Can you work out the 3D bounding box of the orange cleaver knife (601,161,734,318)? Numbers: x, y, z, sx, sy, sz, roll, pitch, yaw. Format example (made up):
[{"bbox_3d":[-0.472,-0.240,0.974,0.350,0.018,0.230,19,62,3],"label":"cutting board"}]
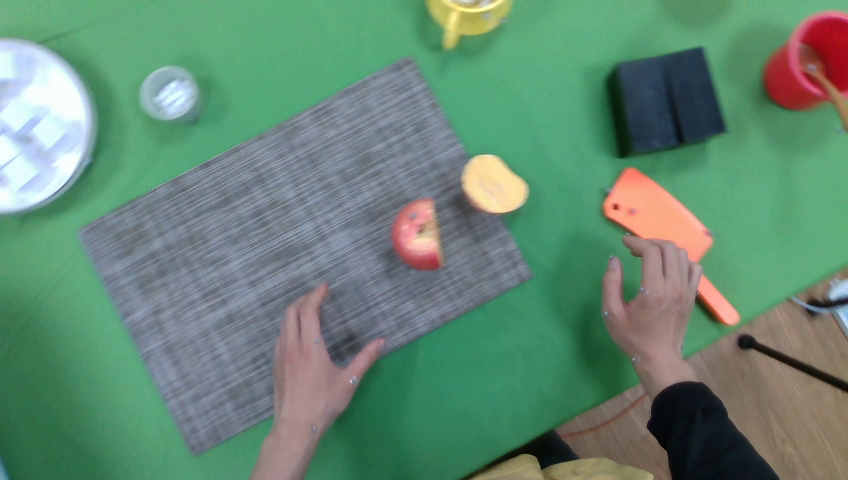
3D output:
[{"bbox_3d":[0.294,-0.002,0.708,0.077,0.012,0.211,-43,86,-8],"label":"orange cleaver knife"}]

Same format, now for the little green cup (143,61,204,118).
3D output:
[{"bbox_3d":[-0.290,-0.173,0.707,0.061,0.038,0.061,0,87,1],"label":"little green cup"}]

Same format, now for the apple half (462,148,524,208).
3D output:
[{"bbox_3d":[0.072,-0.064,0.698,0.082,0.033,0.080,11,59,-18],"label":"apple half"}]

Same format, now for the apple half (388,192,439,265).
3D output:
[{"bbox_3d":[-0.013,-0.010,0.679,0.053,0.074,0.081,-9,91,4],"label":"apple half"}]

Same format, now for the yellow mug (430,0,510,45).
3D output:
[{"bbox_3d":[0.050,-0.288,0.698,0.100,0.064,0.130,20,88,1],"label":"yellow mug"}]

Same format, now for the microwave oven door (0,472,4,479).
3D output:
[{"bbox_3d":[-0.491,0.270,0.568,0.039,0.244,0.355,-25,87,-1],"label":"microwave oven door"}]

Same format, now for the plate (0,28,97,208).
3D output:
[{"bbox_3d":[-0.481,-0.139,0.706,0.208,0.039,0.207,0,87,0],"label":"plate"}]

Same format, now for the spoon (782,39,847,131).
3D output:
[{"bbox_3d":[0.432,-0.167,0.654,0.041,0.022,0.192,7,42,1],"label":"spoon"}]
